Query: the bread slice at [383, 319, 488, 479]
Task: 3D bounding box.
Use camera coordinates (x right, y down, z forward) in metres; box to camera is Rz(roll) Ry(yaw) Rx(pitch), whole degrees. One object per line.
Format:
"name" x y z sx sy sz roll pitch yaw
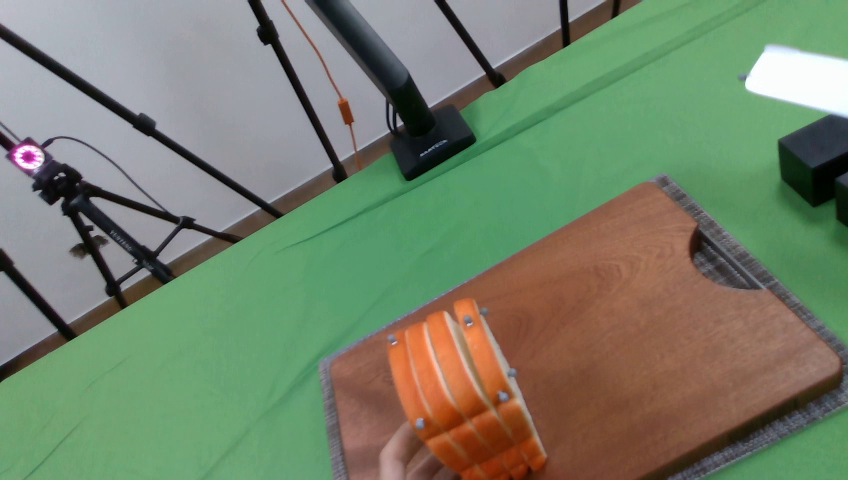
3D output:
"bread slice" 0.009 0.122 0.488 0.018 0.136 0.106 -29 38 8

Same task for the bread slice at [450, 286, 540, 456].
"bread slice" 0.056 0.098 0.480 0.019 0.133 0.103 -25 43 3

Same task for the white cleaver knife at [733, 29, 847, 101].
"white cleaver knife" 0.362 -0.099 0.418 0.283 0.022 0.066 33 74 32
